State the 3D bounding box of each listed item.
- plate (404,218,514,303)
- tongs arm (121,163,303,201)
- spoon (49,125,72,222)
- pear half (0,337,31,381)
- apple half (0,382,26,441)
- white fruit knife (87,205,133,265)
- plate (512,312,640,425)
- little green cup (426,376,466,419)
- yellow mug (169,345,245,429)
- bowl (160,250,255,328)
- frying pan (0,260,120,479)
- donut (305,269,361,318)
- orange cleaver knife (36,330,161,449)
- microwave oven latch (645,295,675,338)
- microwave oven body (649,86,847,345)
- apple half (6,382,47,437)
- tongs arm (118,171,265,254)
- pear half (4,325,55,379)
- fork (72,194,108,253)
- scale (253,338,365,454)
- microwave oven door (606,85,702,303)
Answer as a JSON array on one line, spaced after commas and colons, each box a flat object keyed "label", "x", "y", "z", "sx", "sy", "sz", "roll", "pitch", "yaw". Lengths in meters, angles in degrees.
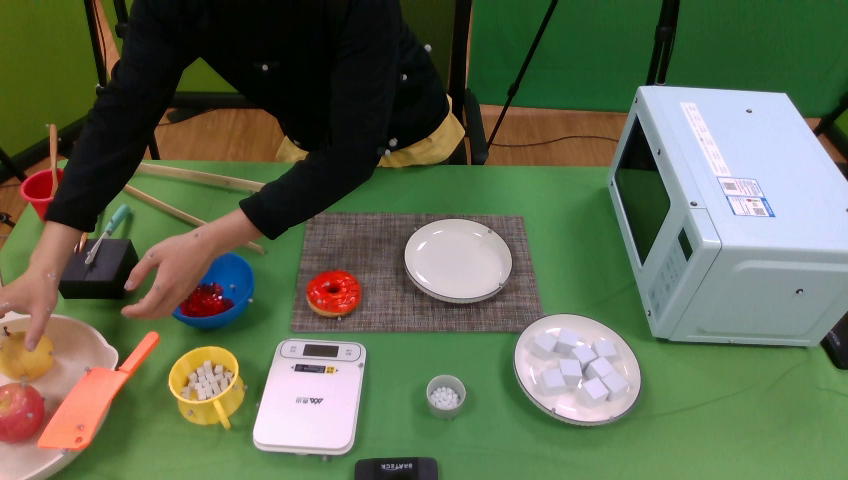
[{"label": "plate", "x": 0.065, "y": 0.042, "z": 1.146, "sx": 0.209, "sy": 0.038, "sz": 0.208, "roll": 2, "pitch": 46, "yaw": -2}, {"label": "tongs arm", "x": -0.443, "y": -0.114, "z": 1.266, "sx": 0.384, "sy": 0.026, "sz": 0.050, "roll": 12, "pitch": 51, "yaw": 7}, {"label": "spoon", "x": -0.718, "y": -0.131, "z": 1.189, "sx": 0.041, "sy": 0.021, "sz": 0.193, "roll": -4, "pitch": 91, "yaw": -6}, {"label": "pear half", "x": -0.632, "y": 0.185, "z": 0.920, "sx": 0.070, "sy": 0.088, "sz": 0.031, "roll": 29, "pitch": 49, "yaw": 21}, {"label": "apple half", "x": -0.605, "y": 0.250, "z": 0.871, "sx": 0.053, "sy": 0.075, "sz": 0.080, "roll": -9, "pitch": 51, "yaw": -7}, {"label": "white fruit knife", "x": -0.584, "y": -0.013, "z": 1.129, "sx": 0.016, "sy": 0.027, "sz": 0.206, "roll": 0, "pitch": 31, "yaw": -5}, {"label": "plate", "x": 0.246, "y": 0.213, "z": 0.999, "sx": 0.208, "sy": 0.039, "sz": 0.206, "roll": 2, "pitch": 46, "yaw": -2}, {"label": "little green cup", "x": 0.033, "y": 0.248, "z": 0.950, "sx": 0.061, "sy": 0.039, "sz": 0.061, "roll": 2, "pitch": 46, "yaw": -2}, {"label": "yellow mug", "x": -0.322, "y": 0.230, "z": 0.922, "sx": 0.100, "sy": 0.064, "sz": 0.130, "roll": -24, "pitch": 53, "yaw": -25}, {"label": "bowl", "x": -0.362, "y": 0.098, "z": 1.040, "sx": 0.151, "sy": 0.077, "sz": 0.150, "roll": 2, "pitch": 45, "yaw": -2}, {"label": "frying pan", "x": -0.647, "y": 0.164, "z": 0.936, "sx": 0.307, "sy": 0.103, "sz": 0.485, "roll": -19, "pitch": 58, "yaw": -22}, {"label": "donut", "x": -0.160, "y": 0.094, "z": 1.075, "sx": 0.099, "sy": 0.048, "sz": 0.098, "roll": 4, "pitch": 45, "yaw": -3}, {"label": "orange cleaver knife", "x": -0.466, "y": 0.210, "z": 0.880, "sx": 0.077, "sy": 0.012, "sz": 0.210, "roll": 15, "pitch": 46, "yaw": 9}, {"label": "microwave oven latch", "x": 0.411, "y": 0.134, "z": 1.061, "sx": 0.030, "sy": 0.029, "sz": 0.078, "roll": 3, "pitch": 45, "yaw": 0}, {"label": "microwave oven body", "x": 0.567, "y": -0.053, "z": 1.118, "sx": 0.326, "sy": 0.261, "sz": 0.439, "roll": 2, "pitch": 45, "yaw": -1}, {"label": "apple half", "x": -0.566, "y": 0.244, "z": 0.877, "sx": 0.033, "sy": 0.082, "sz": 0.080, "roll": -10, "pitch": 47, "yaw": -5}, {"label": "tongs arm", "x": -0.472, "y": -0.055, "z": 1.211, "sx": 0.386, "sy": 0.028, "sz": 0.028, "roll": 23, "pitch": 57, "yaw": 17}, {"label": "pear half", "x": -0.609, "y": 0.159, "z": 0.933, "sx": 0.076, "sy": 0.110, "sz": 0.056, "roll": 30, "pitch": 50, "yaw": 21}, {"label": "fork", "x": -0.634, "y": -0.036, "z": 1.158, "sx": 0.028, "sy": 0.019, "sz": 0.206, "roll": -8, "pitch": 32, "yaw": -8}, {"label": "scale", "x": -0.175, "y": 0.236, "z": 0.951, "sx": 0.149, "sy": 0.032, "sz": 0.199, "roll": 4, "pitch": 45, "yaw": -1}, {"label": "microwave oven door", "x": 0.422, "y": -0.094, "z": 1.140, "sx": 0.039, "sy": 0.245, "sz": 0.353, "roll": 2, "pitch": 46, "yaw": -1}]
